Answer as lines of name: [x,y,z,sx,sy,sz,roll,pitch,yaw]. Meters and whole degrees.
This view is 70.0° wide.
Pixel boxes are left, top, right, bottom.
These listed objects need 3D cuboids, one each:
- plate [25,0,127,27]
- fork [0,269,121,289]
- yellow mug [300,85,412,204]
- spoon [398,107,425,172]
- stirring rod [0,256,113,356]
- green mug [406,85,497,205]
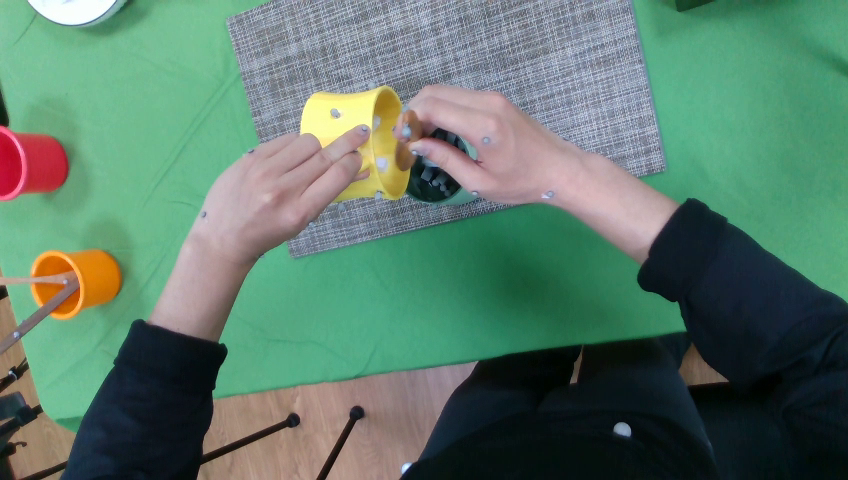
plate: [-0.437,-0.376,0.768,0.207,0.039,0.208,3,100,17]
fork: [-0.517,0.055,0.801,0.208,0.018,0.028,-1,97,-26]
yellow mug: [-0.061,-0.076,0.527,0.064,0.130,0.101,-2,117,19]
spoon: [-0.008,-0.081,0.476,0.022,0.193,0.041,21,90,-4]
stirring rod: [-0.487,0.085,0.803,0.014,0.006,0.175,38,65,8]
green mug: [0.024,-0.097,0.629,0.092,0.105,0.125,5,99,17]
